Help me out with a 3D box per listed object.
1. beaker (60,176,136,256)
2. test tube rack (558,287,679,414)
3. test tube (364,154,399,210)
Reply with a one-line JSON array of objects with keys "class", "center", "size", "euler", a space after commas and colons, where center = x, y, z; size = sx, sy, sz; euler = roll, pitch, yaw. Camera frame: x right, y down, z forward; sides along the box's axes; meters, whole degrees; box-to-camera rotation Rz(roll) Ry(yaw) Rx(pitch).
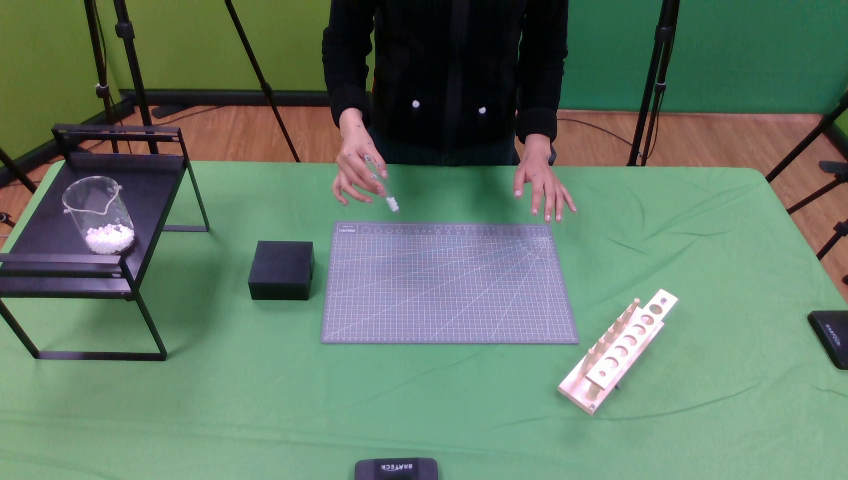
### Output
[{"class": "beaker", "center": [-0.471, -0.031, 0.887], "size": [0.074, 0.101, 0.083], "euler": [-31, 56, -28]}, {"class": "test tube rack", "center": [0.326, 0.170, 1.009], "size": [0.066, 0.085, 0.242], "euler": [35, 54, 26]}, {"class": "test tube", "center": [-0.071, -0.097, 1.052], "size": [0.017, 0.151, 0.017], "euler": [-8, 56, 13]}]
